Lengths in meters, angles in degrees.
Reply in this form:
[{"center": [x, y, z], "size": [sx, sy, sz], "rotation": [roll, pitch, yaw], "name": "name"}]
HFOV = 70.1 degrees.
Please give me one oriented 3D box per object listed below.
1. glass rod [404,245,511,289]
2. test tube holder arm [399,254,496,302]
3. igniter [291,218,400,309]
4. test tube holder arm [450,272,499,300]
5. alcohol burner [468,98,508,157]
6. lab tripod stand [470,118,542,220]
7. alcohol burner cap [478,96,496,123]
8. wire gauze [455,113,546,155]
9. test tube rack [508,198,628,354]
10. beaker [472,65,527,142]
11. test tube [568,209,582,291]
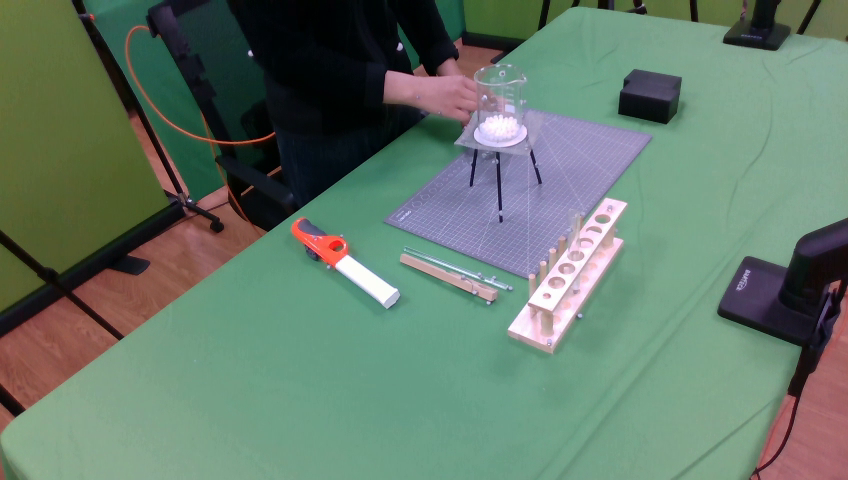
[{"center": [0.047, 0.039, 0.939], "size": [0.198, 0.008, 0.008], "rotation": [21, 49, 31], "name": "glass rod"}, {"center": [0.032, 0.055, 0.914], "size": [0.177, 0.015, 0.013], "rotation": [21, 16, 32], "name": "test tube holder arm"}, {"center": [-0.136, 0.031, 0.970], "size": [0.057, 0.025, 0.274], "rotation": [-41, 49, -19], "name": "igniter"}, {"center": [0.071, 0.068, 0.895], "size": [0.087, 0.015, 0.010], "rotation": [21, 16, 33], "name": "test tube holder arm"}, {"center": [0.120, -0.218, 1.143], "size": [0.078, 0.119, 0.077], "rotation": [-4, 42, 4], "name": "alcohol burner"}, {"center": [0.135, -0.128, 1.019], "size": [0.148, 0.132, 0.147], "rotation": [-5, 38, 5], "name": "lab tripod stand"}, {"center": [0.117, -0.244, 1.120], "size": [0.034, 0.048, 0.033], "rotation": [-4, 44, 4], "name": "alcohol burner cap"}, {"center": [0.124, -0.175, 0.973], "size": [0.124, 0.011, 0.121], "rotation": [8, 39, 21], "name": "wire gauze"}, {"center": [0.206, 0.039, 0.850], "size": [0.066, 0.085, 0.243], "rotation": [20, 48, 31], "name": "test tube rack"}, {"center": [0.120, -0.211, 0.942], "size": [0.083, 0.101, 0.074], "rotation": [10, 42, 22], "name": "beaker"}, {"center": [0.200, 0.017, 0.799], "size": [0.017, 0.151, 0.017], "rotation": [-8, 45, 8], "name": "test tube"}]
